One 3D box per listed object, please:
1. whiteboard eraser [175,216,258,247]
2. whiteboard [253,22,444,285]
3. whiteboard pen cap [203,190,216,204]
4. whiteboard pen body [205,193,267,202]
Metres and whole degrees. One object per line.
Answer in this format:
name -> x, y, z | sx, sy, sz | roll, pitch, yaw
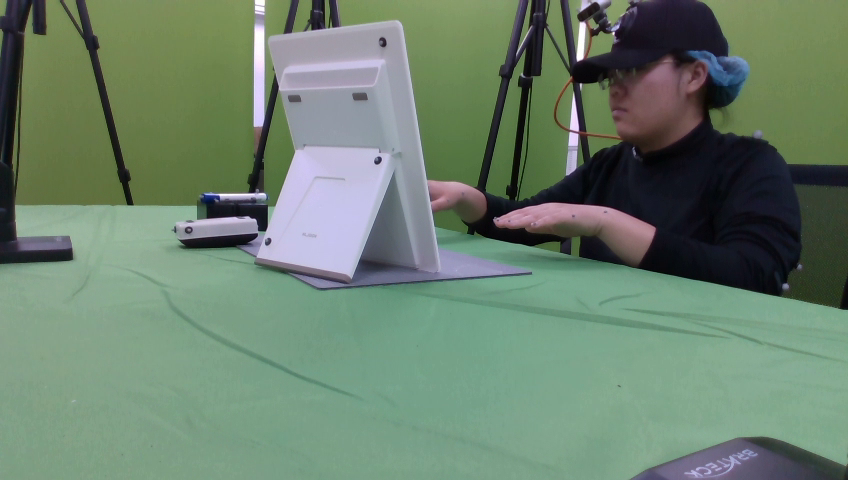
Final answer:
whiteboard eraser -> -0.313, -0.013, 0.915 | 0.113, 0.042, 0.055 | -5, 12, -30
whiteboard -> -0.125, -0.081, 0.715 | 0.216, 0.305, 0.144 | 9, 29, 36
whiteboard pen cap -> -0.388, -0.077, 1.093 | 0.018, 0.018, 0.033 | 2, 25, -7
whiteboard pen body -> -0.355, -0.081, 1.147 | 0.017, 0.017, 0.141 | 8, 9, 34
